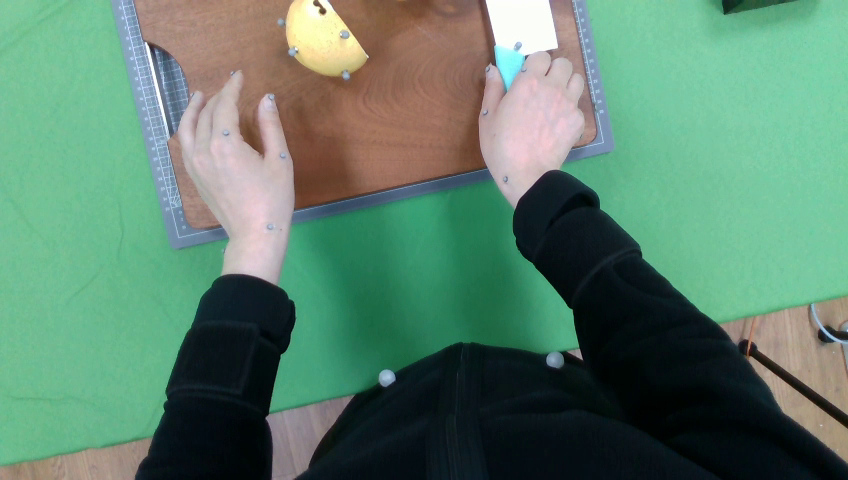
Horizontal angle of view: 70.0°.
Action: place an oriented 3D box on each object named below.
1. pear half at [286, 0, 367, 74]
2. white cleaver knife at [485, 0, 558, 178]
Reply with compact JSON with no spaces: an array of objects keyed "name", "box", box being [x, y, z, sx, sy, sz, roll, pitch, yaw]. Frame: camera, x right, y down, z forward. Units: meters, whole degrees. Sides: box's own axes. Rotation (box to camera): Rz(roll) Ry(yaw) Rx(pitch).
[{"name":"pear half","box":[-0.090,-0.177,0.514,0.056,0.110,0.076,-42,88,1]},{"name":"white cleaver knife","box":[0.089,-0.198,0.556,0.066,0.021,0.286,-12,92,-2]}]
